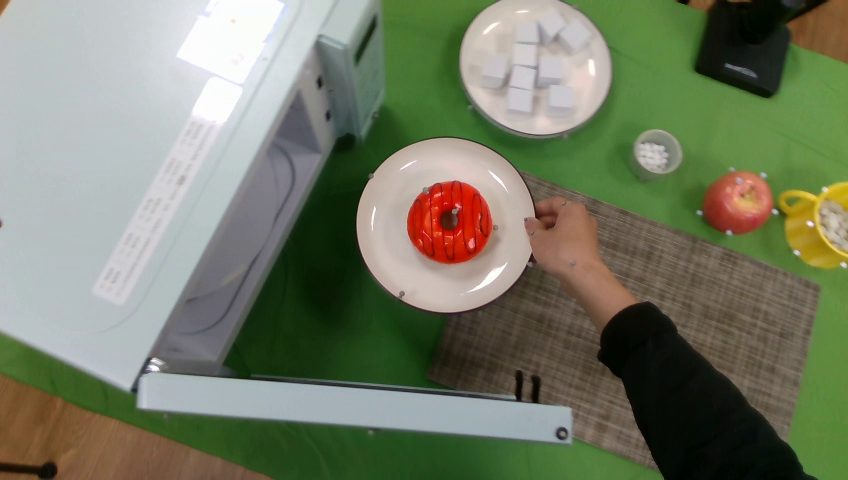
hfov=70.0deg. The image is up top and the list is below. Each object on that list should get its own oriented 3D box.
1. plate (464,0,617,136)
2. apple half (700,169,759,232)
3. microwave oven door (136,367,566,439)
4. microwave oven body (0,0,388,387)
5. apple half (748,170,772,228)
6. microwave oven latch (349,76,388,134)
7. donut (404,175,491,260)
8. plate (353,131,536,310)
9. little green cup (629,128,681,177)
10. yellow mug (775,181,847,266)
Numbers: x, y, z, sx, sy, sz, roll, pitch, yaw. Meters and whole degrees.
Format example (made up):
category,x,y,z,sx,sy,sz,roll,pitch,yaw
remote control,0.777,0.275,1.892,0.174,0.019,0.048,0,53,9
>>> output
category,x,y,z,sx,sy,sz,roll,pitch,yaw
plate,0.156,-0.236,0.826,0.208,0.039,0.206,1,78,-3
apple half,0.388,-0.049,0.785,0.053,0.075,0.080,-5,82,0
microwave oven door,-0.062,0.159,0.608,0.356,0.244,0.039,5,77,-2
microwave oven body,-0.276,-0.105,0.654,0.326,0.261,0.440,24,78,1
apple half,0.427,-0.053,0.787,0.033,0.081,0.081,-6,78,0
microwave oven latch,-0.072,-0.179,0.781,0.030,0.029,0.079,24,79,1
donut,0.026,-0.025,0.688,0.099,0.048,0.099,0,83,3
plate,0.023,-0.022,0.699,0.209,0.038,0.208,0,80,1
little green cup,0.306,-0.115,0.811,0.061,0.039,0.061,1,78,-3
yellow mug,0.524,-0.028,0.792,0.130,0.064,0.099,32,78,4
